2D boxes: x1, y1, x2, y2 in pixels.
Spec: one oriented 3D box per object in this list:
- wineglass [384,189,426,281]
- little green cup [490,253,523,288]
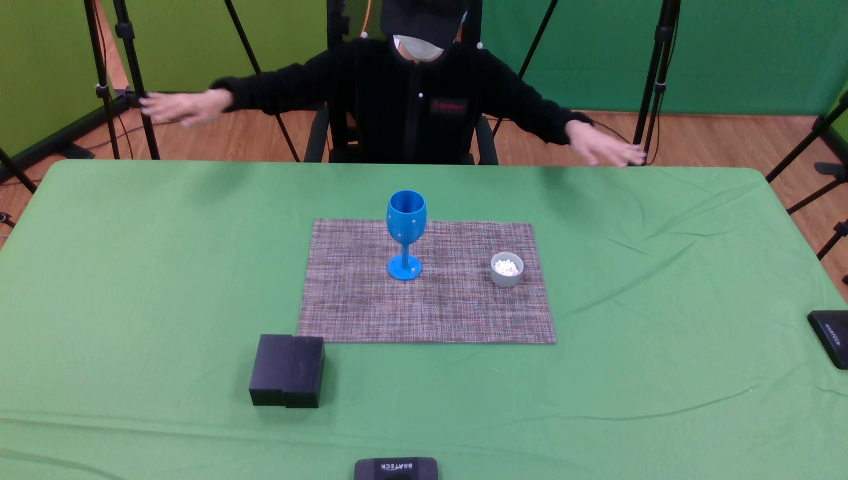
[{"bbox_3d":[-0.035,-0.006,1.091,0.074,0.173,0.073,2,46,-2],"label":"wineglass"},{"bbox_3d":[0.153,0.059,1.137,0.061,0.039,0.061,2,46,-2],"label":"little green cup"}]
